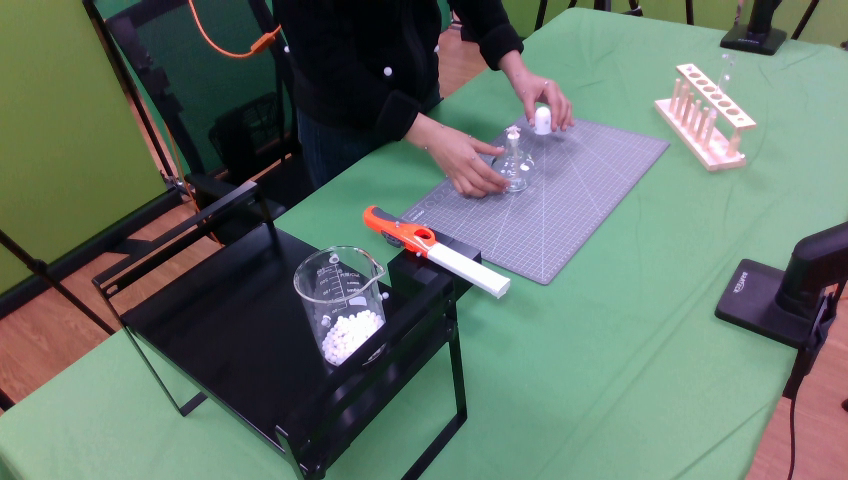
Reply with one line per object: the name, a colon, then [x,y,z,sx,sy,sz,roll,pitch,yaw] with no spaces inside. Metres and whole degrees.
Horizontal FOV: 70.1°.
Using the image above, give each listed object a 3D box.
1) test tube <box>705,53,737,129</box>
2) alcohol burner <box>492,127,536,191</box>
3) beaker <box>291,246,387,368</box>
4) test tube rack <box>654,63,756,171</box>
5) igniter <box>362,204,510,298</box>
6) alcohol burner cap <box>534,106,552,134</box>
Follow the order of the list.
test tube: [0.526,-0.261,1.074,0.017,0.151,0.017,-2,44,2]
alcohol burner: [0.155,-0.145,1.046,0.078,0.119,0.077,-5,42,5]
beaker: [-0.073,0.066,0.573,0.084,0.101,0.073,-7,41,0]
test tube rack: [0.510,-0.233,1.120,0.067,0.085,0.241,-8,41,-1]
igniter: [0.007,0.009,0.887,0.274,0.025,0.057,29,50,32]
alcohol burner cap: [0.216,-0.218,1.096,0.034,0.048,0.033,-5,35,4]
